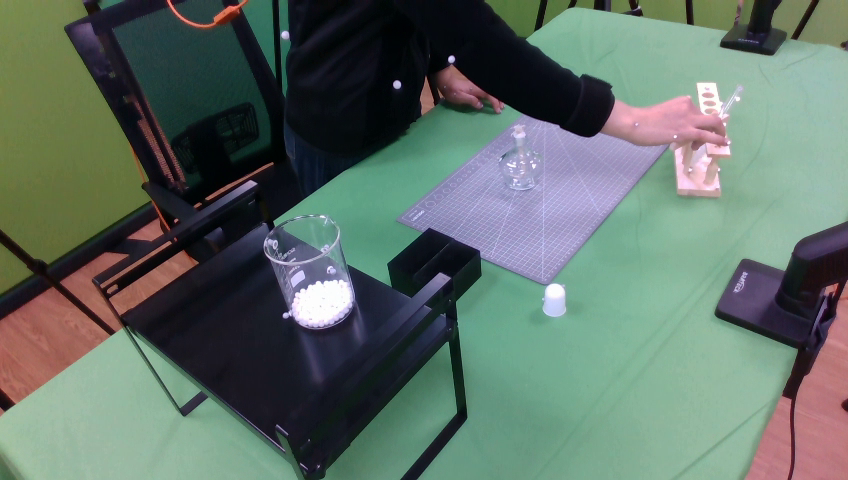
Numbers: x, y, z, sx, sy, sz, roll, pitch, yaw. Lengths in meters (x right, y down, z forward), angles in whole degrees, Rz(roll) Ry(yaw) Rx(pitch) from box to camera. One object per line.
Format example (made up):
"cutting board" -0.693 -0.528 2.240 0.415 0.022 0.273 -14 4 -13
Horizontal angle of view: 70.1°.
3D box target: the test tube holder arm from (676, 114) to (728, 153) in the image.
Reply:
"test tube holder arm" 0.431 -0.167 0.933 0.013 0.015 0.179 17 34 40

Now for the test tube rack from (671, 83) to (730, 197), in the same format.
"test tube rack" 0.482 -0.184 1.067 0.066 0.085 0.242 6 42 14

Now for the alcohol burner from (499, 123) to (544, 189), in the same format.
"alcohol burner" 0.169 -0.149 1.048 0.078 0.119 0.077 -6 41 5

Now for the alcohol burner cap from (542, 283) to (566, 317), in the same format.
"alcohol burner cap" 0.182 0.081 0.839 0.034 0.048 0.033 -4 41 4

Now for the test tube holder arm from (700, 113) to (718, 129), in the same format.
"test tube holder arm" 0.455 -0.185 0.966 0.010 0.015 0.088 12 31 32

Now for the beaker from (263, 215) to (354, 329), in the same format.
"beaker" -0.112 0.034 0.616 0.073 0.101 0.084 13 44 23

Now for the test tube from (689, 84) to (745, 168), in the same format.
"test tube" 0.484 -0.187 1.006 0.017 0.150 0.017 20 25 -9
